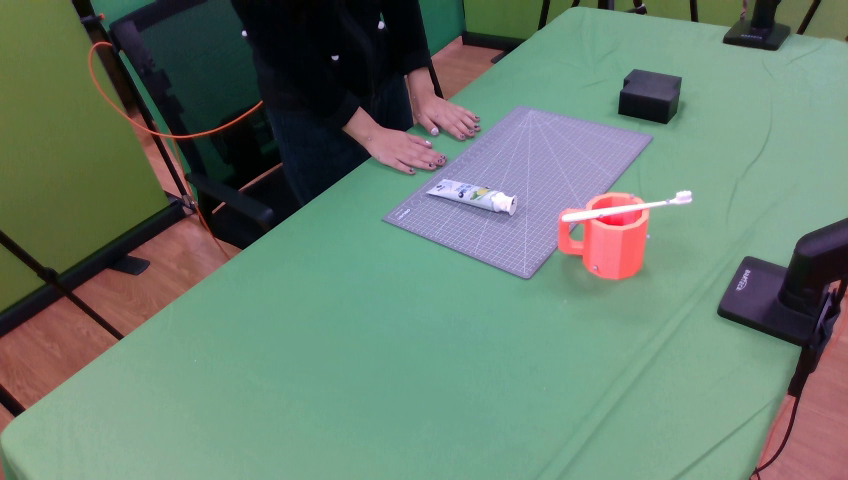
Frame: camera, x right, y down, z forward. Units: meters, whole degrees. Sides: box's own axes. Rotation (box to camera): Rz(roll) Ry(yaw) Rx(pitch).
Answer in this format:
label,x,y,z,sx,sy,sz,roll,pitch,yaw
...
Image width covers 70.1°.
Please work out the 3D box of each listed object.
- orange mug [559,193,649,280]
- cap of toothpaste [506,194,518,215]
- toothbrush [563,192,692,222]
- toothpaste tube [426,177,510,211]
label,x,y,z,sx,sy,sz,roll,pitch,yaw
orange mug,0.261,-0.008,0.884,0.126,0.101,0.083,9,43,14
cap of toothpaste,0.146,-0.060,1.007,0.011,0.037,0.037,14,46,22
toothbrush,0.284,-0.045,0.842,0.182,0.017,0.014,-9,43,0
toothpaste tube,0.083,-0.081,1.054,0.164,0.034,0.055,18,40,34
